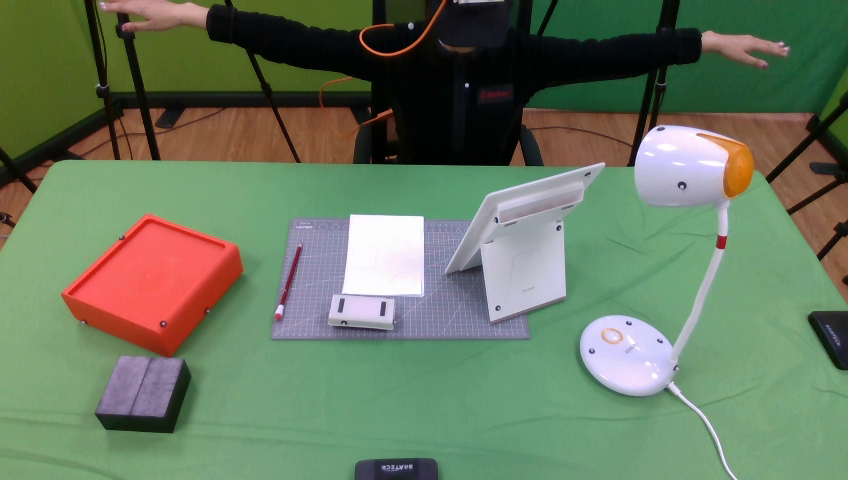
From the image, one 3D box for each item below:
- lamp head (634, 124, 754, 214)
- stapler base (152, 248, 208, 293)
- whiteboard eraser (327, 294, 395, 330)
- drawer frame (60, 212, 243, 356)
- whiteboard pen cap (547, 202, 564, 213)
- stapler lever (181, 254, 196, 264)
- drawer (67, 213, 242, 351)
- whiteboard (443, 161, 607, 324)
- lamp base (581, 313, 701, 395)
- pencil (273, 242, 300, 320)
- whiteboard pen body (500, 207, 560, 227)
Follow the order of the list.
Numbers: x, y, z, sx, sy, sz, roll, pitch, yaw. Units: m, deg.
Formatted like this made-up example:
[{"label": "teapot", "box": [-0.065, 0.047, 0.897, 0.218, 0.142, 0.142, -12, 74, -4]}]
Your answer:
[{"label": "lamp head", "box": [0.351, -0.089, 0.775, 0.112, 0.113, 0.122, -30, 30, -28]}, {"label": "stapler base", "box": [-0.443, 0.049, 1.101, 0.130, 0.024, 0.041, 33, 38, 28]}, {"label": "whiteboard eraser", "box": [-0.109, 0.127, 1.049, 0.113, 0.042, 0.055, 4, 45, -1]}, {"label": "drawer frame", "box": [-0.462, 0.070, 1.053, 0.201, 0.083, 0.213, 18, 48, 12]}, {"label": "whiteboard pen cap", "box": [0.277, -0.066, 1.275, 0.033, 0.018, 0.018, -18, 50, -15]}, {"label": "stapler lever", "box": [-0.440, 0.026, 1.086, 0.117, 0.040, 0.027, 31, 37, 30]}, {"label": "drawer", "box": [-0.461, 0.068, 1.057, 0.194, 0.073, 0.211, 19, 48, 13]}, {"label": "whiteboard", "box": [0.185, 0.026, 1.028, 0.217, 0.306, 0.143, -15, 68, -18]}, {"label": "lamp base", "box": [0.361, 0.144, 0.973, 0.178, 0.181, 0.160, 34, 53, 23]}, {"label": "pencil", "box": [-0.249, 0.070, 1.115, 0.012, 0.012, 0.193, 5, 44, 1]}, {"label": "whiteboard pen body", "box": [0.222, -0.051, 1.259, 0.141, 0.017, 0.017, -15, 49, -16]}]
